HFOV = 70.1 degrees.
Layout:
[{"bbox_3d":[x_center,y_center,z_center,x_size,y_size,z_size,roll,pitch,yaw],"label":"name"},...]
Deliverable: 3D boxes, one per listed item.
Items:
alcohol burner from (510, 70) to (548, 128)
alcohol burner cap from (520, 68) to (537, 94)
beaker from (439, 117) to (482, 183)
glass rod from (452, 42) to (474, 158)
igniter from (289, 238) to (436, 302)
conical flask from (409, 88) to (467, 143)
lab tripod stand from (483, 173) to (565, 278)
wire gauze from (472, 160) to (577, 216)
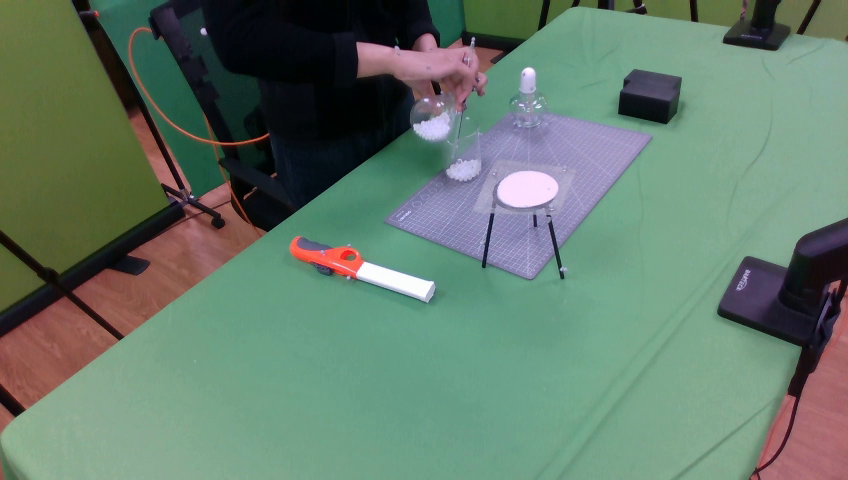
[{"bbox_3d":[0.209,-0.287,1.207,0.078,0.119,0.077,-5,42,5],"label":"alcohol burner"},{"bbox_3d":[0.205,-0.313,1.183,0.034,0.048,0.033,-3,50,4],"label":"alcohol burner cap"},{"bbox_3d":[0.068,-0.160,1.097,0.073,0.101,0.084,7,43,19],"label":"beaker"},{"bbox_3d":[0.067,-0.242,1.052,0.008,0.199,0.008,9,11,-1],"label":"glass rod"},{"bbox_3d":[-0.106,0.043,0.949,0.274,0.025,0.057,16,57,27],"label":"igniter"},{"bbox_3d":[0.032,-0.215,0.993,0.075,0.075,0.122,11,35,22],"label":"conical flask"},{"bbox_3d":[0.151,-0.025,0.896,0.148,0.132,0.147,-7,40,6],"label":"lab tripod stand"},{"bbox_3d":[0.143,-0.073,0.850,0.121,0.011,0.125,8,43,22],"label":"wire gauze"}]
